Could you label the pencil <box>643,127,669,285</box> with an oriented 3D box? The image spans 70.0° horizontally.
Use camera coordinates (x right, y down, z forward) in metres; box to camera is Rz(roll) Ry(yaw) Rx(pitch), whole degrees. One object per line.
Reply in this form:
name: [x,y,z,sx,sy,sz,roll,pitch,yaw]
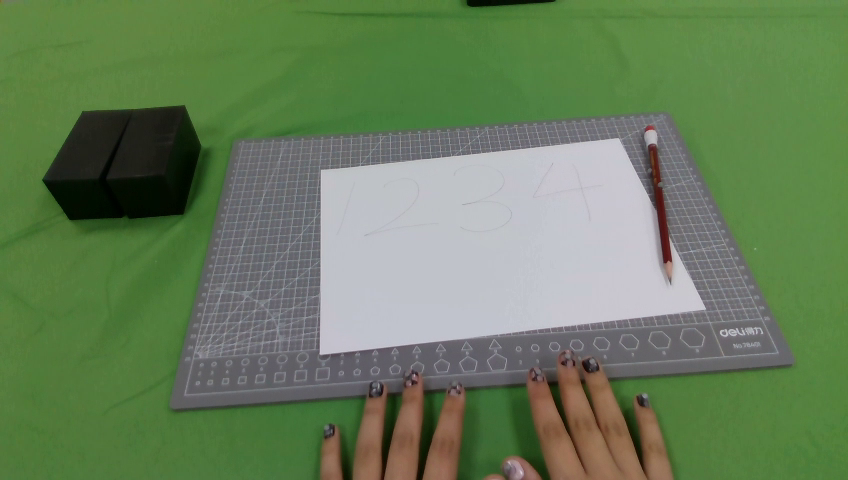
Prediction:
pencil: [0.209,-0.037,0.544,0.012,0.012,0.192,6,50,7]
